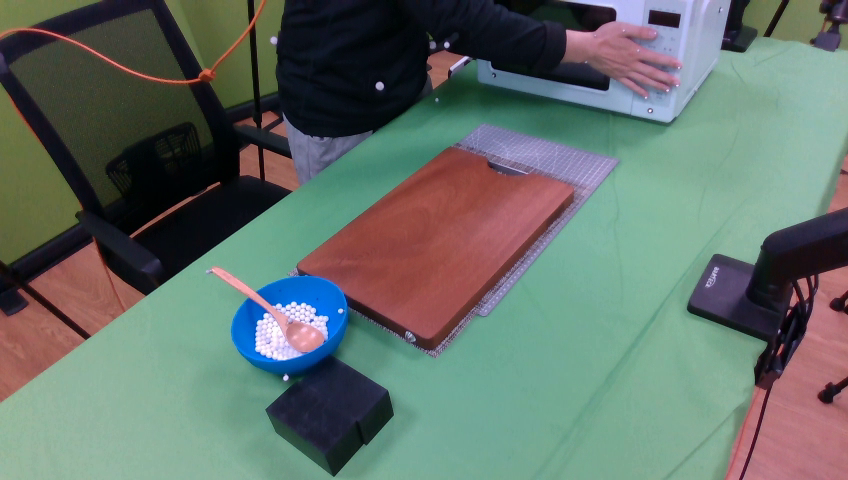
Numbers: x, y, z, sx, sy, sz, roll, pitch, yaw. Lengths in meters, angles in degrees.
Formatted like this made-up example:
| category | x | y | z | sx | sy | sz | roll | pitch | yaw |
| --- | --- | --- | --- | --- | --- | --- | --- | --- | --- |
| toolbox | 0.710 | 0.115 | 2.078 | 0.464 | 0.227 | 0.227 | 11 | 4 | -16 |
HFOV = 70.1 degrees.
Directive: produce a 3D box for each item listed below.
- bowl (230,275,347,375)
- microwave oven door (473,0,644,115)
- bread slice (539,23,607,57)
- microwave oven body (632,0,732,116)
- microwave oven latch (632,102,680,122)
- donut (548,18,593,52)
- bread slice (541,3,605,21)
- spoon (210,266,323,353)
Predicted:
| category | x | y | z | sx | sy | sz | roll | pitch | yaw |
| --- | --- | --- | --- | --- | --- | --- | --- | --- | --- |
| bowl | -0.171 | 0.125 | 0.801 | 0.151 | 0.077 | 0.150 | -4 | 40 | 4 |
| microwave oven door | 0.257 | -0.396 | 1.199 | 0.353 | 0.245 | 0.039 | 21 | 48 | 29 |
| bread slice | 0.335 | -0.446 | 1.336 | 0.132 | 0.019 | 0.104 | -30 | 43 | -20 |
| microwave oven body | 0.377 | -0.463 | 1.267 | 0.438 | 0.261 | 0.327 | 21 | 48 | 30 |
| microwave oven latch | 0.443 | -0.249 | 1.157 | 0.078 | 0.029 | 0.030 | 20 | 48 | 30 |
| donut | 0.315 | -0.442 | 1.300 | 0.099 | 0.048 | 0.098 | -18 | 36 | 15 |
| bread slice | 0.320 | -0.484 | 1.278 | 0.106 | 0.018 | 0.135 | 17 | 34 | 28 |
| spoon | -0.213 | 0.087 | 0.806 | 0.193 | 0.021 | 0.042 | 37 | 55 | 12 |
